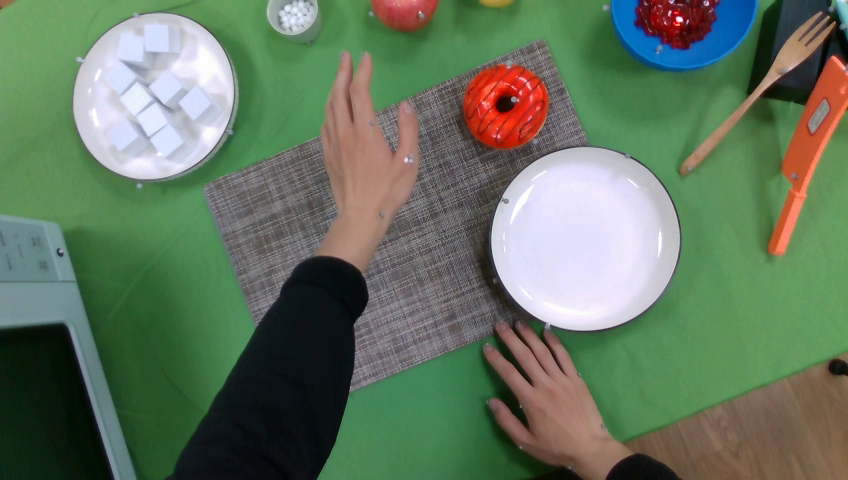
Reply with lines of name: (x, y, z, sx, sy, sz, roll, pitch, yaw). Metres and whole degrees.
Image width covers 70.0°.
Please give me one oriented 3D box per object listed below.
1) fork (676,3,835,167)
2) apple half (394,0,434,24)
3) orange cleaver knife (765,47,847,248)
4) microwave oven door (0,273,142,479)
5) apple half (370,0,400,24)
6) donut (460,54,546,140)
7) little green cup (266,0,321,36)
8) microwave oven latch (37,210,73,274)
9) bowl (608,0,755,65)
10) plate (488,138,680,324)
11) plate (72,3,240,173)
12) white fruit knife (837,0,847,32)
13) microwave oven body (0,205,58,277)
fork: (0.349, -0.160, 0.653, 0.028, 0.018, 0.208, 37, 112, 0)
apple half: (-0.002, -0.281, 0.697, 0.032, 0.081, 0.081, 28, 90, 10)
orange cleaver knife: (0.403, -0.094, 0.648, 0.012, 0.076, 0.213, 9, 118, 4)
microwave oven door: (-0.393, 0.206, 0.615, 0.039, 0.244, 0.355, -20, 86, 4)
apple half: (-0.037, -0.298, 0.702, 0.053, 0.075, 0.081, 28, 93, 10)
donut: (0.091, -0.164, 0.695, 0.099, 0.048, 0.099, 0, 90, 8)
little green cup: (-0.155, -0.278, 0.730, 0.061, 0.039, 0.061, 0, 87, 6)
microwave oven latch: (-0.453, 0.004, 0.730, 0.030, 0.029, 0.079, -18, 87, 4)
bowl: (0.272, -0.258, 0.668, 0.151, 0.077, 0.151, 0, 88, 5)
plate: (0.177, -0.010, 0.685, 0.209, 0.038, 0.209, 0, 88, 5)
plate: (-0.323, -0.182, 0.743, 0.207, 0.039, 0.207, 0, 88, 6)
white fruit knife: (0.441, -0.254, 0.634, 0.027, 0.016, 0.207, -18, 84, -24)
microwave oven body: (-0.543, 0.215, 0.634, 0.326, 0.260, 0.441, -20, 87, 4)
